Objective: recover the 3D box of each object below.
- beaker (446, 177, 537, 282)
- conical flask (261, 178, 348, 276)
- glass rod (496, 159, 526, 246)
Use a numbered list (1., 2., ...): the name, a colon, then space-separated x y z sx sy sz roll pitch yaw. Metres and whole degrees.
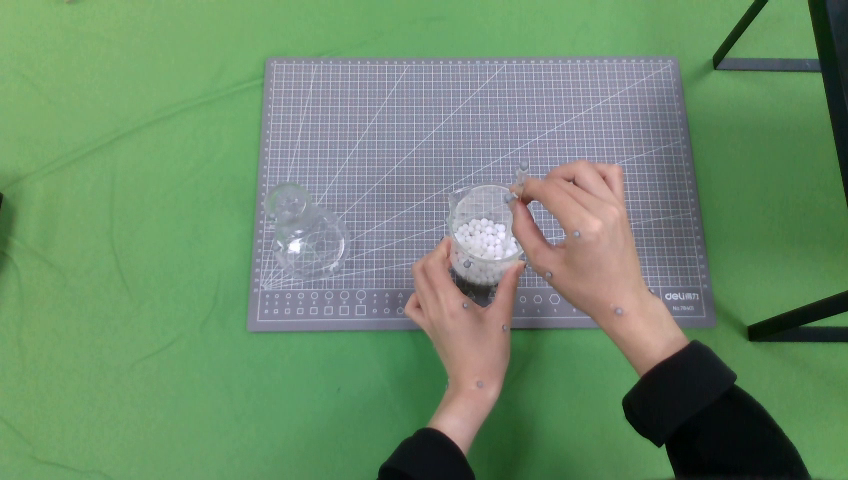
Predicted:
1. beaker: 0.054 -0.006 0.555 0.083 0.101 0.074 36 76 11
2. conical flask: -0.112 -0.017 0.544 0.075 0.122 0.075 0 73 0
3. glass rod: 0.069 -0.025 0.496 0.008 0.201 0.008 -1 74 3
